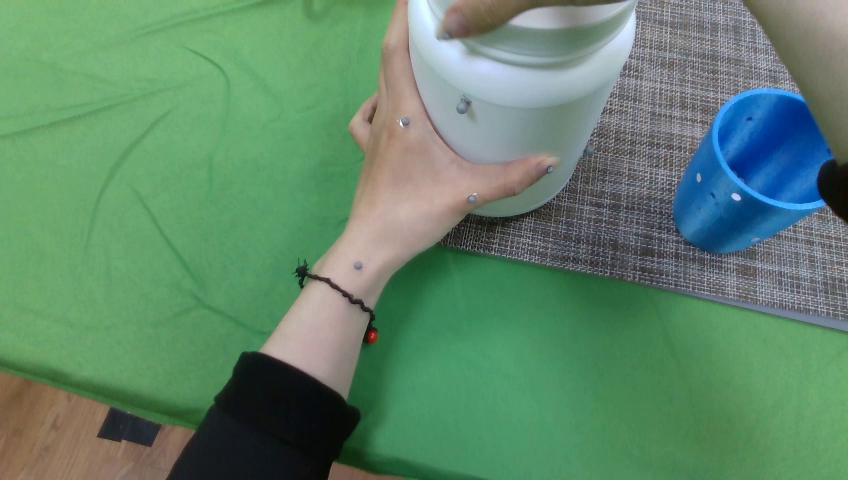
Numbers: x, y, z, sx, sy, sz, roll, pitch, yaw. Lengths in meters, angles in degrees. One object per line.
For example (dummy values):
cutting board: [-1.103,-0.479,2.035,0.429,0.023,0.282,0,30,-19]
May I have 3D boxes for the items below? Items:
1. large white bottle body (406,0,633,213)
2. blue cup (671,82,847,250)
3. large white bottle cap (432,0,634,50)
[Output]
large white bottle body: [0.053,-0.112,0.387,0.131,0.186,0.129,1,66,-2]
blue cup: [0.213,-0.039,0.407,0.092,0.101,0.092,0,66,0]
large white bottle cap: [0.055,-0.147,0.309,0.115,0.018,0.114,1,67,-1]
